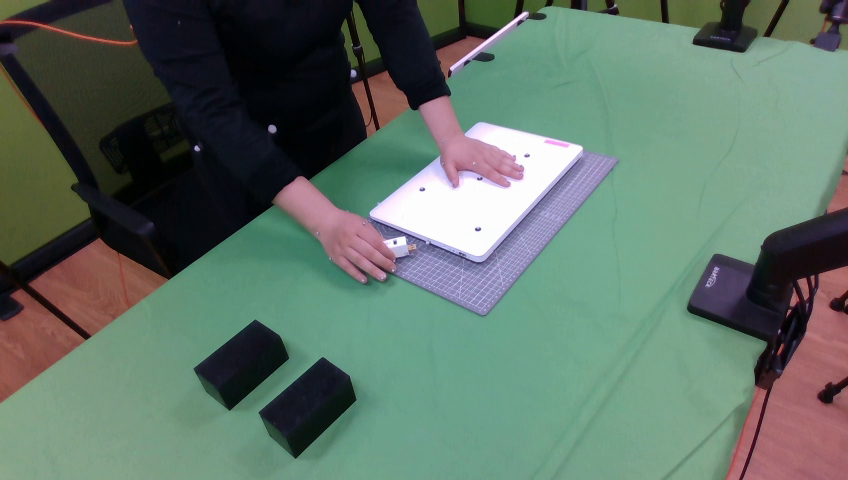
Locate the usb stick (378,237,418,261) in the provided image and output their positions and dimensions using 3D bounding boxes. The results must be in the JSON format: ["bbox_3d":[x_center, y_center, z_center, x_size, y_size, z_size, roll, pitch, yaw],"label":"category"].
[{"bbox_3d":[-0.040,0.013,0.944,0.059,0.027,0.021,-10,40,-5],"label":"usb stick"}]

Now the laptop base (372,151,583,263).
[{"bbox_3d":[0.101,-0.096,1.071,0.233,0.023,0.355,19,47,33],"label":"laptop base"}]

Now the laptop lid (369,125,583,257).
[{"bbox_3d":[0.098,-0.104,1.066,0.239,0.013,0.358,21,47,34],"label":"laptop lid"}]
